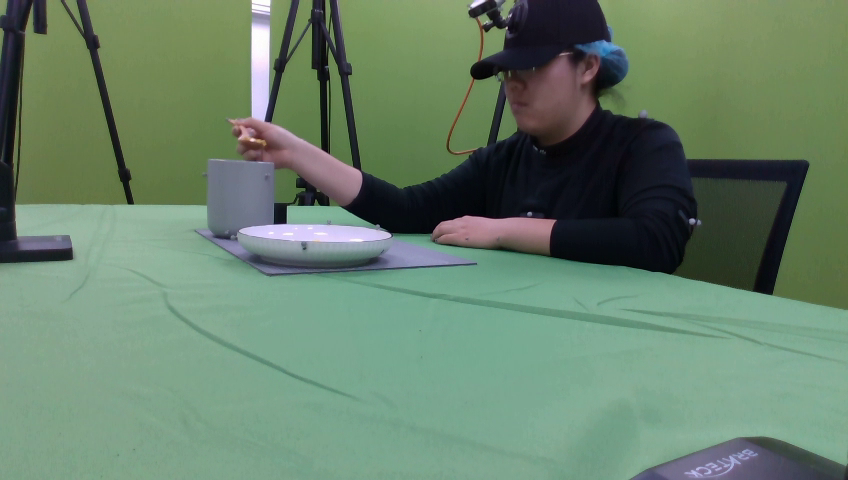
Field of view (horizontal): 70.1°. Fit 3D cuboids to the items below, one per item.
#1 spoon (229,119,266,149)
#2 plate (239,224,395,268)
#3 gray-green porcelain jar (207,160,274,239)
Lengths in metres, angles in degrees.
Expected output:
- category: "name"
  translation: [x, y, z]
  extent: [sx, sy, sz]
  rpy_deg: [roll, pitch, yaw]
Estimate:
- category: "spoon"
  translation: [-0.309, -0.186, 1.038]
  extent: [0.042, 0.021, 0.193]
  rpy_deg: [10, 19, -31]
- category: "plate"
  translation: [-0.144, 0.007, 0.823]
  extent: [0.208, 0.039, 0.207]
  rpy_deg: [3, 7, 0]
- category: "gray-green porcelain jar"
  translation: [-0.304, -0.068, 1.003]
  extent: [0.106, 0.126, 0.106]
  rpy_deg: [3, 7, 0]
